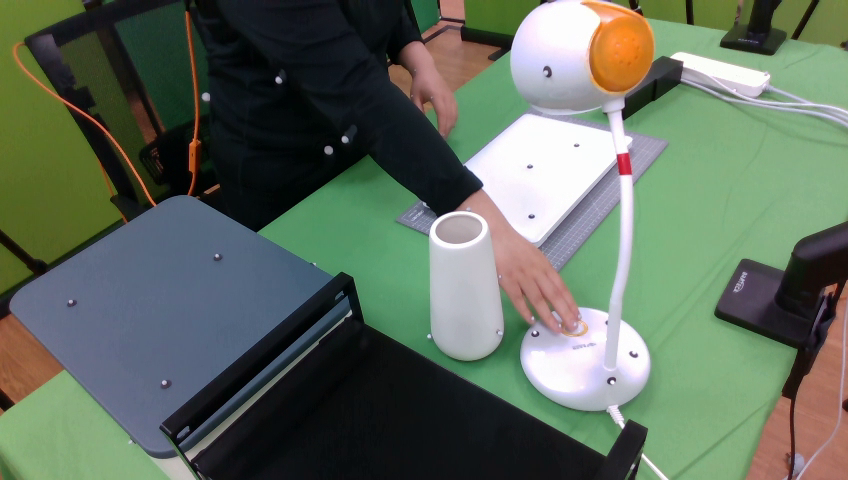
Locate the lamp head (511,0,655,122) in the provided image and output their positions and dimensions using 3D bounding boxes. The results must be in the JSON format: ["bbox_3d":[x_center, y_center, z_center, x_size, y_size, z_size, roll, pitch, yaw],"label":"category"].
[{"bbox_3d":[0.155,-0.168,0.564,0.113,0.113,0.122,-18,23,-12],"label":"lamp head"}]

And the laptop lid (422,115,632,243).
[{"bbox_3d":[0.190,-0.127,1.081,0.239,0.013,0.358,23,48,34],"label":"laptop lid"}]

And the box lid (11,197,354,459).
[{"bbox_3d":[-0.288,0.072,0.710,0.368,0.015,0.264,25,50,32],"label":"box lid"}]

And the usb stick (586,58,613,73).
[{"bbox_3d":[0.401,-0.399,1.381,0.059,0.027,0.021,0,47,21],"label":"usb stick"}]

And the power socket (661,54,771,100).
[{"bbox_3d":[0.615,-0.349,1.285,0.072,0.033,0.225,-36,48,-28],"label":"power socket"}]

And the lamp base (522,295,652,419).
[{"bbox_3d":[0.201,0.095,0.710,0.161,0.181,0.178,-16,43,-10],"label":"lamp base"}]

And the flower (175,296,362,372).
[{"bbox_3d":[-0.233,0.115,0.832,0.359,0.038,0.044,10,87,33],"label":"flower"}]

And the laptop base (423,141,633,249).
[{"bbox_3d":[0.194,-0.117,1.087,0.233,0.023,0.355,21,48,34],"label":"laptop base"}]

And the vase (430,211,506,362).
[{"bbox_3d":[0.054,0.062,0.757,0.098,0.201,0.097,-3,40,3],"label":"vase"}]

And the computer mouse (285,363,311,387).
[{"bbox_3d":[-0.161,0.158,0.791,0.116,0.041,0.063,26,46,23],"label":"computer mouse"}]

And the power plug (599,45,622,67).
[{"bbox_3d":[0.437,-0.423,1.412,0.053,0.035,0.072,-20,74,-45],"label":"power plug"}]

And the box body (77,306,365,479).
[{"bbox_3d":[-0.282,0.128,0.759,0.361,0.161,0.255,24,49,32],"label":"box body"}]
